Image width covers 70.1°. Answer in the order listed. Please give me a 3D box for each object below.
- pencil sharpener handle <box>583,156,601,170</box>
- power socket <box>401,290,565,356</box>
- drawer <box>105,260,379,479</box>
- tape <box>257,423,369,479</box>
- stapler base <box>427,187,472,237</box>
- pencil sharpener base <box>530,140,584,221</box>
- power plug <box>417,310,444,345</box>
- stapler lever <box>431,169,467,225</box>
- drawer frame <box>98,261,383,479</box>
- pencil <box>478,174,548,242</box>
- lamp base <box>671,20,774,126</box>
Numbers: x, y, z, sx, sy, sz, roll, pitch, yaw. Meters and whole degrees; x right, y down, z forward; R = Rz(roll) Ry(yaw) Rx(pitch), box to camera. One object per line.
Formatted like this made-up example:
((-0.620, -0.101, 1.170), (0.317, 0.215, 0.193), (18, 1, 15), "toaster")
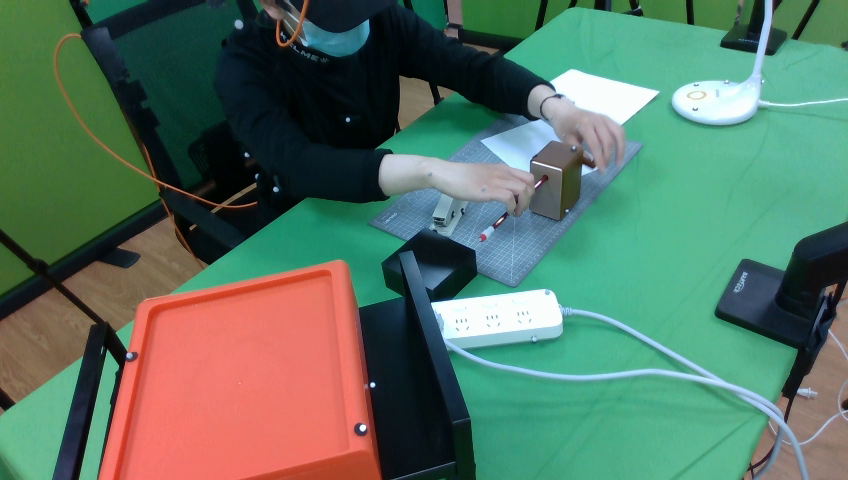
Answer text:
((0.256, -0.139, 0.994), (0.067, 0.036, 0.031), (35, 53, 15), "pencil sharpener handle")
((0.080, 0.112, 0.822), (0.227, 0.033, 0.072), (-6, 41, 0), "power socket")
((-0.150, 0.127, 0.525), (0.195, 0.073, 0.210), (-11, 41, -5), "drawer")
((-0.121, 0.262, 0.660), (0.117, 0.053, 0.116), (-4, 40, 4), "tape")
((0.045, -0.057, 1.028), (0.041, 0.024, 0.130), (10, 44, 20), "stapler base")
((0.217, -0.098, 0.986), (0.061, 0.107, 0.077), (21, 48, 31), "pencil sharpener base")
((0.006, 0.122, 0.785), (0.035, 0.053, 0.072), (0, 40, 9), "power plug")
((0.043, -0.075, 1.010), (0.026, 0.040, 0.118), (10, 45, 20), "stapler lever")
((-0.148, 0.129, 0.520), (0.202, 0.083, 0.212), (-12, 41, -6), "drawer frame")
((0.143, -0.057, 0.912), (0.012, 0.012, 0.194), (26, 55, 33), "pencil")
((0.581, -0.332, 1.154), (0.179, 0.181, 0.160), (2, 41, 7), "lamp base")
